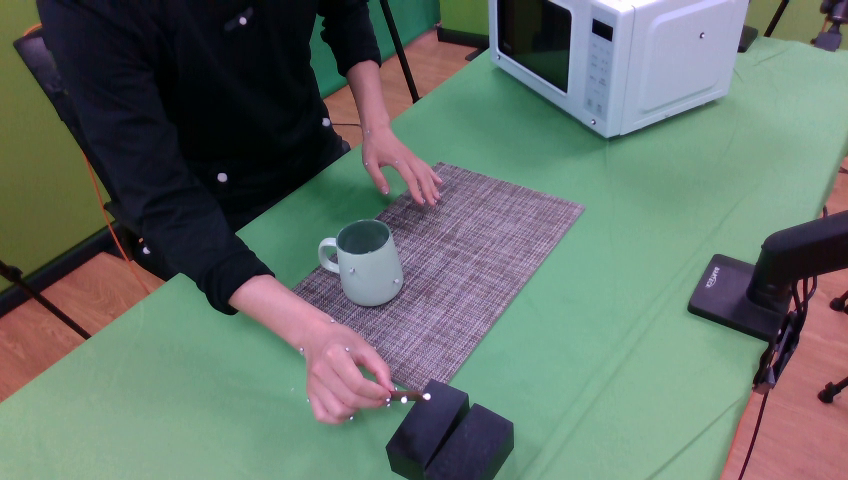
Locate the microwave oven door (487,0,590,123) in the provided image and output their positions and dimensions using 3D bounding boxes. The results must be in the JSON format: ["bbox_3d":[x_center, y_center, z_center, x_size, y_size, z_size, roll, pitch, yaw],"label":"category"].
[{"bbox_3d":[0.232,-0.420,1.230,0.039,0.245,0.352,-22,43,-16],"label":"microwave oven door"}]

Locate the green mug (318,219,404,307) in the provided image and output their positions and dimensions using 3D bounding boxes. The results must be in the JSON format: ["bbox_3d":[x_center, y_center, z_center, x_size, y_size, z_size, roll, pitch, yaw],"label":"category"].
[{"bbox_3d":[-0.095,0.032,0.876,0.125,0.105,0.092,8,43,17],"label":"green mug"}]

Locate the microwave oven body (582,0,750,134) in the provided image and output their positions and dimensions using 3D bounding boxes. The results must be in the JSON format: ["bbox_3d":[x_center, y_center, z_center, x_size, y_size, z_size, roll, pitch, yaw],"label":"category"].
[{"bbox_3d":[0.382,-0.445,1.246,0.327,0.261,0.437,-22,42,-16],"label":"microwave oven body"}]

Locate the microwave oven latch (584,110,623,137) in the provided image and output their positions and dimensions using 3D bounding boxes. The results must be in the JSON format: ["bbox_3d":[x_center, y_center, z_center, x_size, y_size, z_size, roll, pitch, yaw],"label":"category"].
[{"bbox_3d":[0.337,-0.222,1.142,0.030,0.029,0.078,-21,42,-14],"label":"microwave oven latch"}]

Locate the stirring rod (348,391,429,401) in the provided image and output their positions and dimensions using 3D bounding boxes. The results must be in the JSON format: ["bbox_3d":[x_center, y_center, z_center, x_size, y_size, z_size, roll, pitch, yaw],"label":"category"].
[{"bbox_3d":[-0.045,0.179,0.693,0.175,0.014,0.006,-21,34,55],"label":"stirring rod"}]
